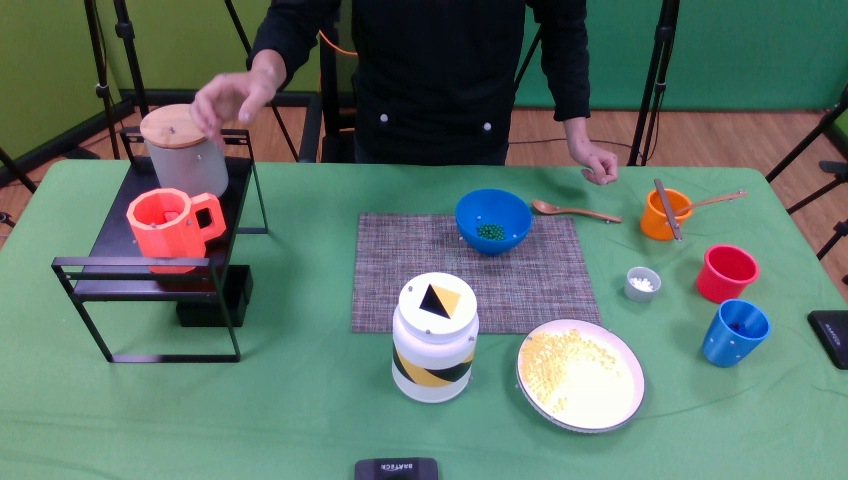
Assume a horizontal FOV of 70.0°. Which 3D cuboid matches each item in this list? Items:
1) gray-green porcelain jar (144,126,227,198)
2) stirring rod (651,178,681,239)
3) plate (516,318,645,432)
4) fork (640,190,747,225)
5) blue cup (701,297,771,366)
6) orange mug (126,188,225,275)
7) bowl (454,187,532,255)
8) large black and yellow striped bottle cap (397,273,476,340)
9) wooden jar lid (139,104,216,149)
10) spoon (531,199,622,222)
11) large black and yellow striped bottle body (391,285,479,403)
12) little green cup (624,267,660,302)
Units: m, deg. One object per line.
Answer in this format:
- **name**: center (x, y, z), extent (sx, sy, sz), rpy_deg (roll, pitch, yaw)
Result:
- **gray-green porcelain jar**: center (-0.375, -0.125, 0.967), extent (0.106, 0.127, 0.105), rpy_deg (2, 46, -2)
- **stirring rod**: center (0.479, -0.065, 1.204), extent (0.014, 0.006, 0.175), rpy_deg (3, 46, -3)
- **plate**: center (0.253, 0.221, 0.992), extent (0.209, 0.038, 0.208), rpy_deg (2, 46, -2)
- **fork**: center (0.533, -0.065, 1.211), extent (0.207, 0.019, 0.028), rpy_deg (-22, 28, 39)
- **blue cup**: center (0.519, 0.162, 1.025), extent (0.093, 0.101, 0.092), rpy_deg (3, 45, -3)
- **orange mug**: center (-0.357, -0.020, 0.885), extent (0.126, 0.101, 0.083), rpy_deg (-29, 54, -23)
- **bowl**: center (0.131, -0.025, 1.187), extent (0.151, 0.077, 0.150), rpy_deg (2, 46, -2)
- **large black and yellow striped bottle cap**: center (0.018, 0.094, 0.878), extent (0.115, 0.019, 0.114), rpy_deg (3, 46, -3)
- **wooden jar lid**: center (-0.372, -0.170, 0.920), extent (0.108, 0.021, 0.107), rpy_deg (4, 44, -4)
- **spoon**: center (0.321, -0.060, 1.279), extent (0.194, 0.022, 0.041), rpy_deg (8, 32, 4)
- **large black and yellow striped bottle body**: center (0.015, 0.153, 0.938), extent (0.131, 0.185, 0.130), rpy_deg (2, 46, -2)
- **little green cup**: center (0.406, 0.084, 1.135), extent (0.061, 0.039, 0.061), rpy_deg (3, 45, -3)
